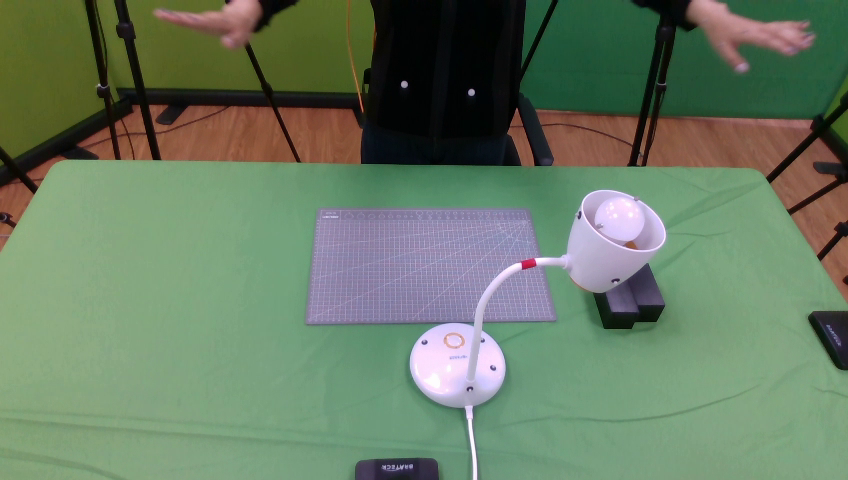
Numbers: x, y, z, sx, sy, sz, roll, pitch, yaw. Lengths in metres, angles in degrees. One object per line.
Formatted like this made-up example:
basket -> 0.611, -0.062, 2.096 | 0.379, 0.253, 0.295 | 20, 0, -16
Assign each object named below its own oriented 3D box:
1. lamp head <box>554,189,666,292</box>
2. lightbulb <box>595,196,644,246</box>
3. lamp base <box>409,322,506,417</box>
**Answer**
lamp head -> 0.234, 0.012, 0.796 | 0.113, 0.123, 0.111 | 13, 43, -13
lightbulb -> 0.244, -0.008, 0.784 | 0.059, 0.108, 0.059 | 8, 40, -7
lamp base -> 0.063, 0.160, 0.941 | 0.161, 0.181, 0.178 | -10, 51, -13
